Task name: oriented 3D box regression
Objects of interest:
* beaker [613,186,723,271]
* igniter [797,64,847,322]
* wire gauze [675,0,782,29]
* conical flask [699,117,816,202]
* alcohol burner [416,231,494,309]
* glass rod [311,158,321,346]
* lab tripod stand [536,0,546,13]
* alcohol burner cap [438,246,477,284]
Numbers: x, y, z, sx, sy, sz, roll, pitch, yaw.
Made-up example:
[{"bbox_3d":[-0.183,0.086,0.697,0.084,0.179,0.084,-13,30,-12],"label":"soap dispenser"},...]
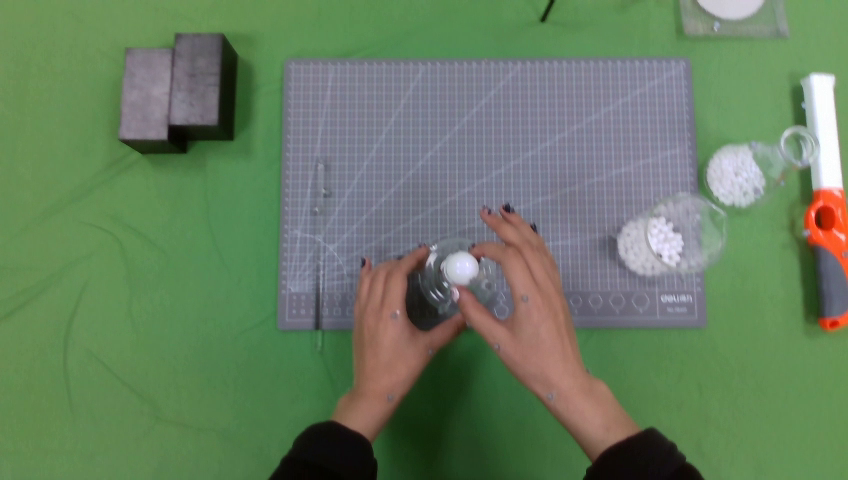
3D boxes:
[{"bbox_3d":[0.237,-0.008,0.599,0.084,0.100,0.074,-24,83,-3],"label":"beaker"},{"bbox_3d":[0.425,-0.052,0.643,0.057,0.025,0.275,1,83,-11],"label":"igniter"},{"bbox_3d":[0.339,-0.297,0.683,0.125,0.011,0.121,-2,83,-2],"label":"wire gauze"},{"bbox_3d":[0.333,-0.084,0.600,0.075,0.122,0.075,0,82,1],"label":"conical flask"},{"bbox_3d":[0.030,0.027,0.587,0.078,0.119,0.077,0,82,2],"label":"alcohol burner"},{"bbox_3d":[-0.115,0.011,0.641,0.008,0.008,0.199,0,86,0],"label":"glass rod"},{"bbox_3d":[0.178,-0.312,0.621,0.148,0.131,0.148,0,85,0],"label":"lab tripod stand"},{"bbox_3d":[0.030,0.020,0.517,0.034,0.048,0.034,1,84,-5],"label":"alcohol burner cap"}]
